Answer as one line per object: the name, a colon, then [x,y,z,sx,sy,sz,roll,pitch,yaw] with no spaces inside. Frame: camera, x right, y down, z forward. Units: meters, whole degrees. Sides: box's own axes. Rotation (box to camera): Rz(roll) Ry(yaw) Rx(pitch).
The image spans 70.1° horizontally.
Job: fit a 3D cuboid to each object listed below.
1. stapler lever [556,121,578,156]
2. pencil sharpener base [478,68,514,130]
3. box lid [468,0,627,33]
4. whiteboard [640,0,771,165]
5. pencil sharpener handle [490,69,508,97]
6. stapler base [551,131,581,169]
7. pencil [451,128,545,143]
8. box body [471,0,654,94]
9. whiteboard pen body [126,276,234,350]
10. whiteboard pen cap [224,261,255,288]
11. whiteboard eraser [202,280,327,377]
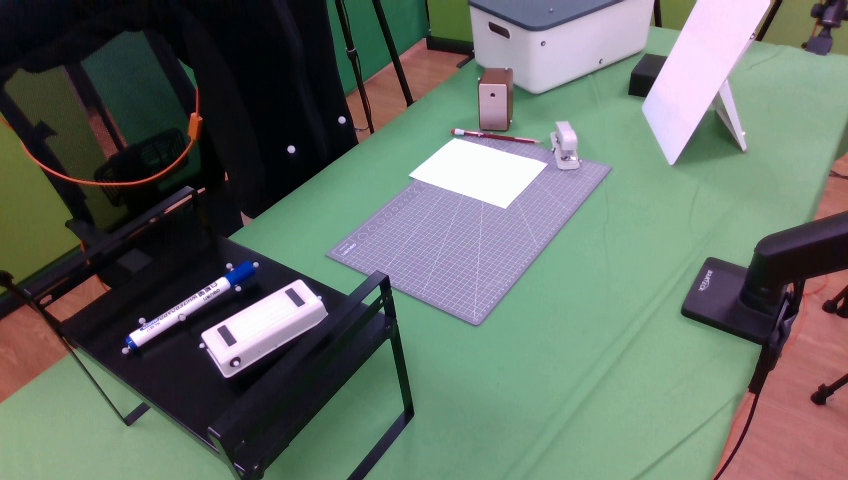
stapler lever: [0.266,-0.198,1.128,0.027,0.040,0.117,0,38,3]
pencil sharpener base: [0.148,-0.286,1.225,0.061,0.107,0.076,5,41,15]
box lid: [0.312,-0.555,1.357,0.373,0.015,0.261,-27,44,-20]
whiteboard: [0.543,-0.299,1.076,0.144,0.305,0.216,12,40,-7]
pencil sharpener handle: [0.154,-0.330,1.254,0.036,0.068,0.030,21,44,0]
stapler base: [0.268,-0.178,1.142,0.041,0.024,0.130,0,37,3]
pencil: [0.145,-0.207,1.205,0.193,0.012,0.012,11,44,20]
box body: [0.319,-0.498,1.405,0.365,0.161,0.252,-26,43,-21]
whiteboard pen body: [-0.251,0.070,0.649,0.141,0.017,0.017,-36,48,-26]
whiteboard pen cap: [-0.207,0.039,0.677,0.033,0.018,0.018,-36,47,-18]
whiteboard eraser: [-0.156,0.088,0.600,0.113,0.042,0.055,-30,47,-24]
